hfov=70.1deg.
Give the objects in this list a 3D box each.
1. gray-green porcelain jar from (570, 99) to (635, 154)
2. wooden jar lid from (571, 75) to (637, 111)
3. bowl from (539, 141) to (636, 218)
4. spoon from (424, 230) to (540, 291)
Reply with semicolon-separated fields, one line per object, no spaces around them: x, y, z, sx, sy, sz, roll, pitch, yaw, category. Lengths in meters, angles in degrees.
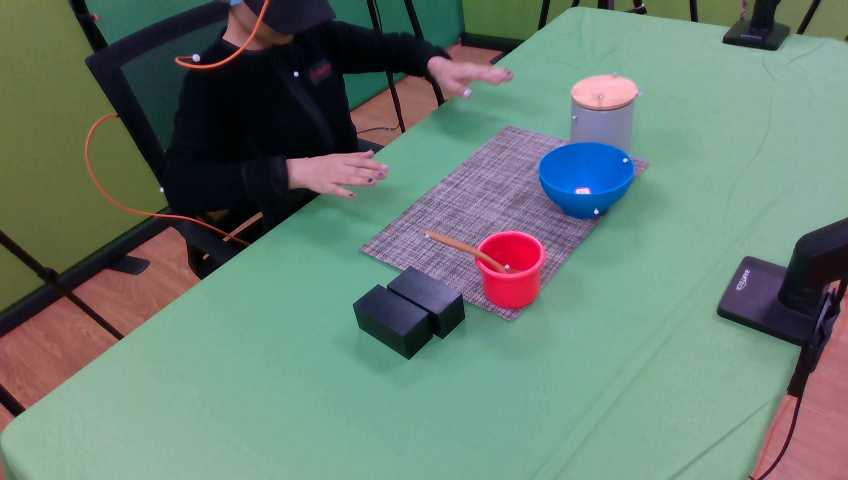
0.313;-0.197;1.069;0.106;0.127;0.105;-5;40;5;gray-green porcelain jar
0.305;-0.246;1.027;0.108;0.021;0.108;-5;41;5;wooden jar lid
0.264;-0.089;0.989;0.151;0.077;0.150;-5;40;5;bowl
0.083;0.026;0.836;0.195;0.021;0.041;29;31;-24;spoon
